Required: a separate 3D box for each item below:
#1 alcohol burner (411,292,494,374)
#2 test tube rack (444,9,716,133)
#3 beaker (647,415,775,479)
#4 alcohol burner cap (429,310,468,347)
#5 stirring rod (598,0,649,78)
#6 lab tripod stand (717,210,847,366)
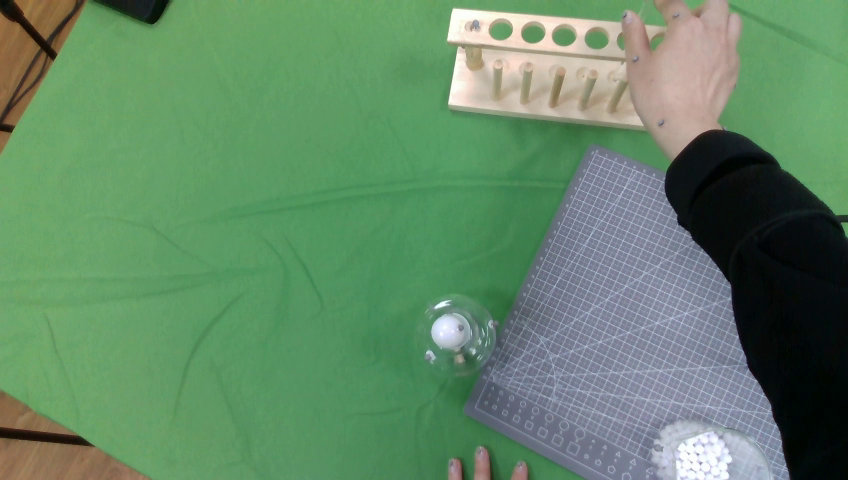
[{"bbox_3d":[0.025,0.083,0.550,0.078,0.119,0.077,-1,78,5],"label":"alcohol burner"},{"bbox_3d":[0.142,-0.163,0.592,0.242,0.085,0.066,8,81,8],"label":"test tube rack"},{"bbox_3d":[0.231,0.185,0.511,0.083,0.101,0.074,32,85,12],"label":"beaker"},{"bbox_3d":[0.019,0.076,0.515,0.034,0.048,0.034,-1,83,8],"label":"alcohol burner cap"},{"bbox_3d":[0.177,-0.192,0.511,0.014,0.177,0.006,34,73,11],"label":"stirring rod"},{"bbox_3d":[0.321,0.037,0.508,0.148,0.132,0.148,-1,82,6],"label":"lab tripod stand"}]
